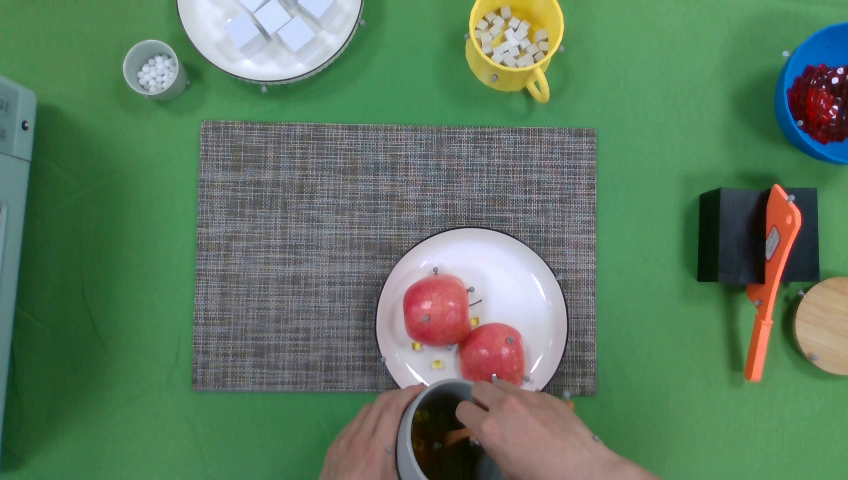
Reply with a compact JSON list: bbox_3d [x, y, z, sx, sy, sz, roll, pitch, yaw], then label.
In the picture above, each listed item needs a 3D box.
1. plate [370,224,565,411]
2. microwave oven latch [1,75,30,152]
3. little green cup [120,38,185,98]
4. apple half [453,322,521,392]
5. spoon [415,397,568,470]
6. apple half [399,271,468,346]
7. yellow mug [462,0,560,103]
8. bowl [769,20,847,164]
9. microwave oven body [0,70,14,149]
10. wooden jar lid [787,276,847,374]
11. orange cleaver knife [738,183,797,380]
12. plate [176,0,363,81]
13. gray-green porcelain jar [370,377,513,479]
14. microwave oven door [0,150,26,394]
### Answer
[{"bbox_3d":[0.046,0.087,0.661,0.209,0.038,0.209,0,88,0],"label":"plate"},{"bbox_3d":[-0.450,-0.137,0.655,0.030,0.029,0.079,7,88,0],"label":"microwave oven latch"},{"bbox_3d":[-0.300,-0.189,0.676,0.061,0.038,0.061,0,88,0],"label":"little green cup"},{"bbox_3d":[0.069,0.128,0.652,0.081,0.033,0.081,0,84,0],"label":"apple half"},{"bbox_3d":[0.056,0.178,0.564,0.022,0.194,0.041,29,46,-24],"label":"spoon"},{"bbox_3d":[0.009,0.074,0.646,0.074,0.053,0.080,-1,88,2],"label":"apple half"},{"bbox_3d":[0.101,-0.210,0.667,0.100,0.064,0.130,-28,88,-2],"label":"yellow mug"},{"bbox_3d":[0.439,-0.150,0.658,0.151,0.077,0.151,0,87,0],"label":"bowl"},{"bbox_3d":[-0.611,0.022,0.550,0.326,0.260,0.441,4,87,0],"label":"microwave oven body"},{"bbox_3d":[0.456,0.094,0.675,0.108,0.021,0.108,0,87,1],"label":"wooden jar lid"},{"bbox_3d":[0.356,0.047,0.646,0.012,0.077,0.212,2,111,3],"label":"orange cleaver knife"},{"bbox_3d":[-0.170,-0.278,0.683,0.208,0.039,0.207,0,87,0],"label":"plate"},{"bbox_3d":[0.010,0.201,0.574,0.106,0.127,0.105,11,56,-17],"label":"gray-green porcelain jar"},{"bbox_3d":[-0.469,0.075,0.543,0.039,0.244,0.355,4,87,0],"label":"microwave oven door"}]
